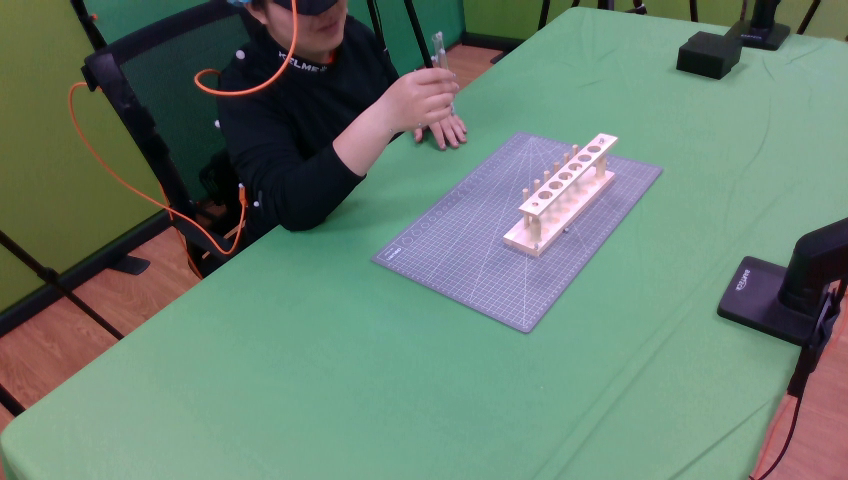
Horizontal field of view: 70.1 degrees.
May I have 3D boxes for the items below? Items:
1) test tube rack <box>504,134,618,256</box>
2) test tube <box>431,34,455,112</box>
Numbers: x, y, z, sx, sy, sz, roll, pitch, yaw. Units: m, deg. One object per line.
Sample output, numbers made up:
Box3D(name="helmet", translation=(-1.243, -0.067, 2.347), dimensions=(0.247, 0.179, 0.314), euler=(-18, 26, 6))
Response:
Box3D(name="test tube rack", translation=(0.225, -0.083, 0.985), dimensions=(0.066, 0.085, 0.243), euler=(25, 50, 34))
Box3D(name="test tube", translation=(0.031, -0.255, 0.940), dimensions=(0.017, 0.151, 0.017), euler=(-6, 55, 9))
